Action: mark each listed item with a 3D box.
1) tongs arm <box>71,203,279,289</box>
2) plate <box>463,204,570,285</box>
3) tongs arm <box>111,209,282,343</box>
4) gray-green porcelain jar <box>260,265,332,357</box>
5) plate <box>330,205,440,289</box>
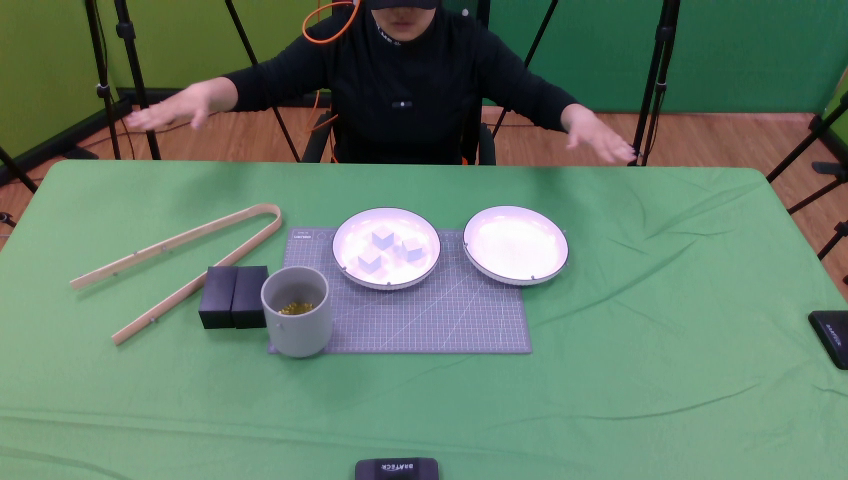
[{"bbox_3d":[-0.454,0.011,1.144,0.385,0.026,0.050,-29,54,-29],"label":"tongs arm"},{"bbox_3d":[0.178,0.011,1.184,0.209,0.038,0.208,3,46,-3],"label":"plate"},{"bbox_3d":[-0.397,0.057,1.109,0.028,0.028,0.387,27,50,25],"label":"tongs arm"},{"bbox_3d":[-0.205,0.121,0.989,0.106,0.127,0.105,2,46,-2],"label":"gray-green porcelain jar"},{"bbox_3d":[-0.074,0.017,1.160,0.208,0.039,0.206,2,47,-2],"label":"plate"}]
